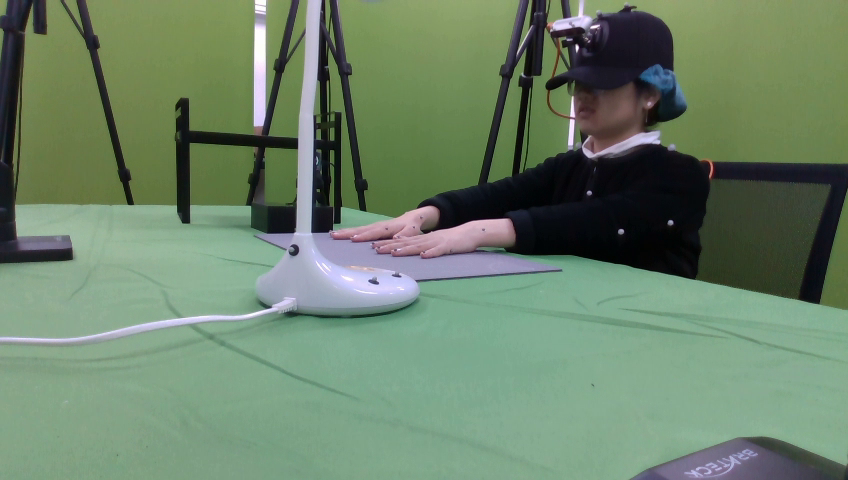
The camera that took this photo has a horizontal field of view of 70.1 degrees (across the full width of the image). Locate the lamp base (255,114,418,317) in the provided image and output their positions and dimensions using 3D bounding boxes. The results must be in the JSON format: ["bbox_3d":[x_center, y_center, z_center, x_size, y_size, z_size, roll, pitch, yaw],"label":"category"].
[{"bbox_3d":[-0.086,-0.027,0.577,0.160,0.180,0.179,4,10,16],"label":"lamp base"}]

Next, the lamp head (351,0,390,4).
[{"bbox_3d":[-0.053,-0.313,0.597,0.112,0.112,0.123,6,-28,25],"label":"lamp head"}]
